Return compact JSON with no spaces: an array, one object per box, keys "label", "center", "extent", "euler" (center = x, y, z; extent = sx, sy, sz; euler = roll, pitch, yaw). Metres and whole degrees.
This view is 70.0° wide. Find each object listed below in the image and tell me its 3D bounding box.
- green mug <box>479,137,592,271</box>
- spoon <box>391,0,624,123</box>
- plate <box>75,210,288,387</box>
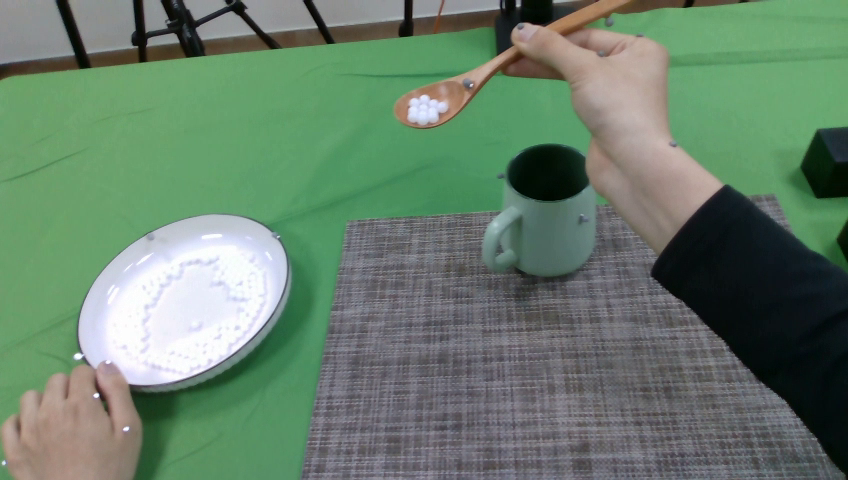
[{"label":"green mug","center":[0.101,-0.022,0.566],"extent":[0.125,0.106,0.091],"euler":[-37,54,-20]},{"label":"spoon","center":[0.065,-0.135,0.431],"extent":[0.194,0.022,0.041],"euler":[-29,57,8]},{"label":"plate","center":[-0.234,0.056,0.605],"extent":[0.209,0.038,0.207],"euler":[-4,49,6]}]
